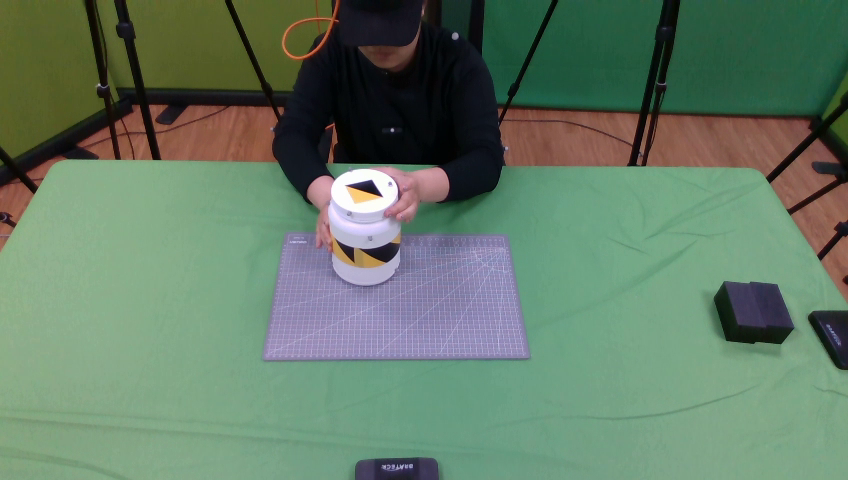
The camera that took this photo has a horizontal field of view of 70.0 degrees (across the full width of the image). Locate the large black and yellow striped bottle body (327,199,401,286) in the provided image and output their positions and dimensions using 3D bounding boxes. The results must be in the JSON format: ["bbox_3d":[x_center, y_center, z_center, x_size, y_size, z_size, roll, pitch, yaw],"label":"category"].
[{"bbox_3d":[-0.107,-0.021,1.095,0.131,0.185,0.130,2,46,-2],"label":"large black and yellow striped bottle body"}]

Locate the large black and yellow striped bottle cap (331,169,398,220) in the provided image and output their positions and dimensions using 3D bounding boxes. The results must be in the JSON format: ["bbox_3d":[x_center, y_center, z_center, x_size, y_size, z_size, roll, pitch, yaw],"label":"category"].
[{"bbox_3d":[-0.101,-0.079,1.034,0.115,0.019,0.114,2,47,-2],"label":"large black and yellow striped bottle cap"}]
